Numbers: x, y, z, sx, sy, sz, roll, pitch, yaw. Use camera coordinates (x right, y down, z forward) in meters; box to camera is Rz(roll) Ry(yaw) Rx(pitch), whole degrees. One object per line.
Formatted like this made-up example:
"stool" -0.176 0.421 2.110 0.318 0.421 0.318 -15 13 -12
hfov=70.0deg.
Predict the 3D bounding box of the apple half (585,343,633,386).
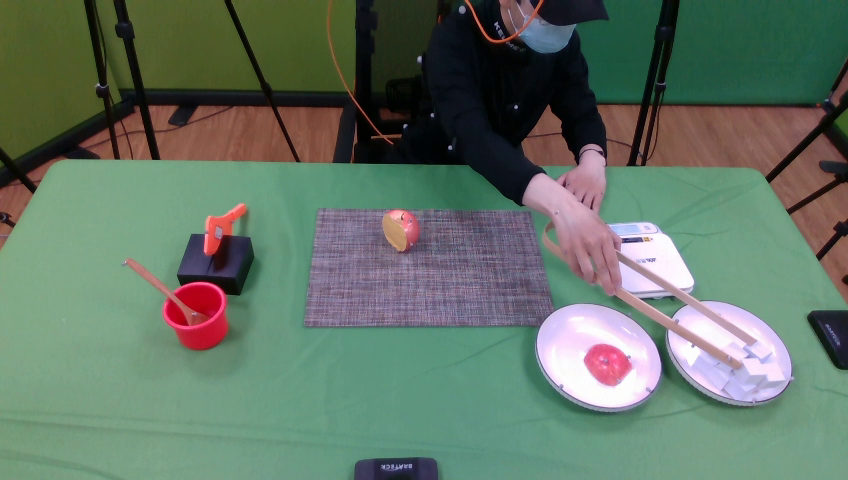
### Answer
"apple half" 0.309 0.198 1.008 0.081 0.033 0.081 4 48 -4

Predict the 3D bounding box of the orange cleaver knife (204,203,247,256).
"orange cleaver knife" -0.374 -0.024 1.146 0.012 0.077 0.211 4 14 1

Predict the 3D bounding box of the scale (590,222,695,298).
"scale" 0.424 0.031 1.189 0.149 0.032 0.199 -3 46 -7

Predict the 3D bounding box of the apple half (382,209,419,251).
"apple half" -0.039 -0.022 1.175 0.053 0.075 0.080 -27 49 -31

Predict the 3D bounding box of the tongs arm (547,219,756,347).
"tongs arm" 0.382 0.067 1.042 0.386 0.028 0.028 34 68 19

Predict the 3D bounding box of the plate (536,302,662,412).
"plate" 0.288 0.197 1.016 0.209 0.038 0.208 2 46 -2

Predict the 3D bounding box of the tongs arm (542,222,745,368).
"tongs arm" 0.362 0.087 1.029 0.383 0.026 0.050 32 64 18

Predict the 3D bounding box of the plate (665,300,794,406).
"plate" 0.513 0.194 1.033 0.208 0.039 0.206 2 46 -2

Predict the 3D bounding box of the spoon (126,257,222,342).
"spoon" -0.408 0.096 0.990 0.194 0.021 0.041 50 54 -18
